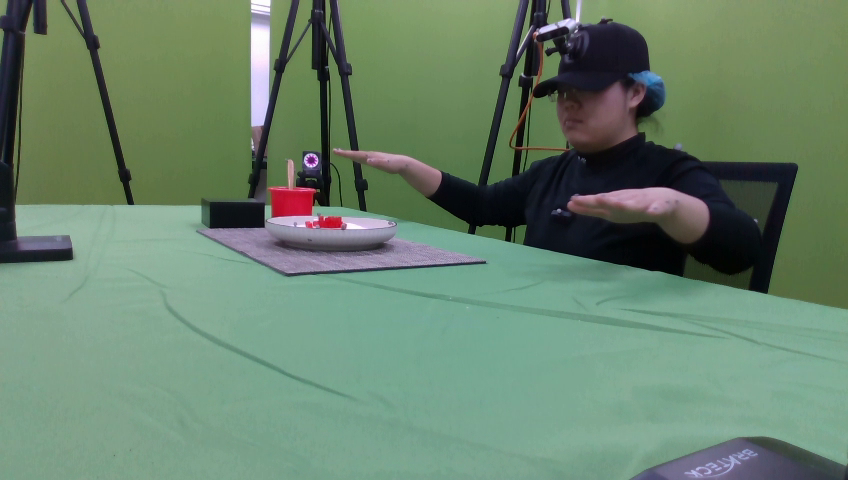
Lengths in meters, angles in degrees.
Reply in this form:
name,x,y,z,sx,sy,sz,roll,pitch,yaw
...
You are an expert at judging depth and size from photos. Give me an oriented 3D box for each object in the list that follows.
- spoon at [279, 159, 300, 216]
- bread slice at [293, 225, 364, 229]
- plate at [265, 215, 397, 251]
name,x,y,z,sx,sy,sz,roll,pitch,yaw
spoon,-0.282,-0.108,1.276,0.042,0.021,0.193,-1,52,-10
bread slice,-0.154,-0.012,0.973,0.132,0.019,0.104,-1,7,-31
plate,-0.147,-0.012,0.963,0.209,0.038,0.209,3,7,0
